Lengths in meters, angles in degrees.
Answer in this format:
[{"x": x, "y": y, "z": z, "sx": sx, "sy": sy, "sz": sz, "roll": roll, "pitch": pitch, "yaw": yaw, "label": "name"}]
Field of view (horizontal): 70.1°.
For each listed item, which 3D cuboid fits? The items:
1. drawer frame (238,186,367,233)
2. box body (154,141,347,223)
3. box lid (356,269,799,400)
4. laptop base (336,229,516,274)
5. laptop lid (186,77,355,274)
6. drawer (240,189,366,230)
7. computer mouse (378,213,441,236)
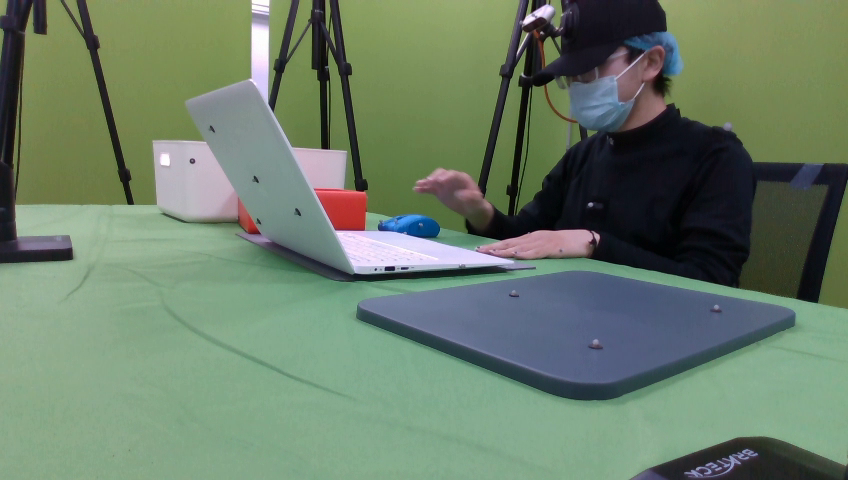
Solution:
[{"x": -0.237, "y": -0.063, "z": 1.157, "sx": 0.214, "sy": 0.082, "sz": 0.201, "roll": -2, "pitch": 8, "yaw": -23, "label": "drawer frame"}, {"x": -0.384, "y": -0.131, "z": 1.346, "sx": 0.366, "sy": 0.160, "sz": 0.253, "roll": -3, "pitch": 9, "yaw": -36, "label": "box body"}, {"x": 0.152, "y": 0.068, "z": 0.565, "sx": 0.374, "sy": 0.015, "sz": 0.262, "roll": -4, "pitch": 10, "yaw": -41, "label": "box lid"}, {"x": -0.065, "y": 0.014, "z": 0.877, "sx": 0.237, "sy": 0.023, "sz": 0.352, "roll": 2, "pitch": 6, "yaw": -32, "label": "laptop base"}, {"x": -0.211, "y": -0.081, "z": 0.772, "sx": 0.013, "sy": 0.242, "sz": 0.355, "roll": -35, "pitch": 25, "yaw": -23, "label": "laptop lid"}, {"x": -0.235, "y": -0.062, "z": 1.158, "sx": 0.213, "sy": 0.073, "sz": 0.193, "roll": -1, "pitch": 8, "yaw": -22, "label": "drawer"}, {"x": -0.027, "y": -0.030, "z": 1.141, "sx": 0.118, "sy": 0.041, "sz": 0.062, "roll": -3, "pitch": 12, "yaw": -34, "label": "computer mouse"}]
